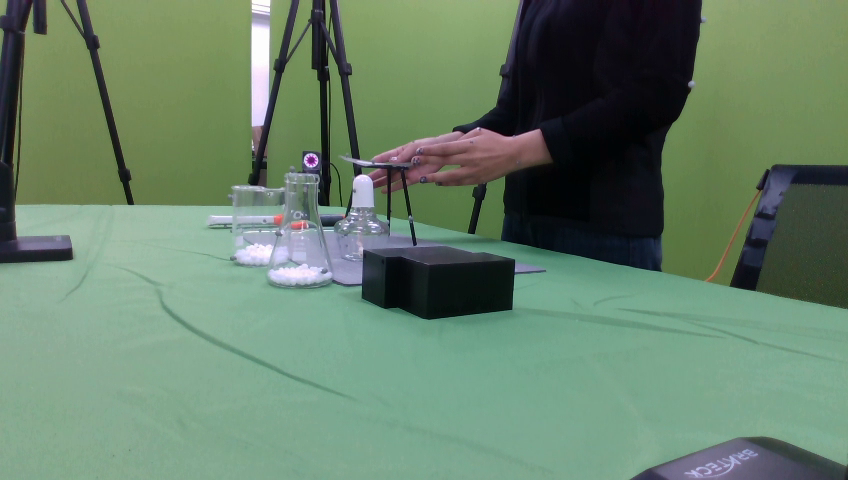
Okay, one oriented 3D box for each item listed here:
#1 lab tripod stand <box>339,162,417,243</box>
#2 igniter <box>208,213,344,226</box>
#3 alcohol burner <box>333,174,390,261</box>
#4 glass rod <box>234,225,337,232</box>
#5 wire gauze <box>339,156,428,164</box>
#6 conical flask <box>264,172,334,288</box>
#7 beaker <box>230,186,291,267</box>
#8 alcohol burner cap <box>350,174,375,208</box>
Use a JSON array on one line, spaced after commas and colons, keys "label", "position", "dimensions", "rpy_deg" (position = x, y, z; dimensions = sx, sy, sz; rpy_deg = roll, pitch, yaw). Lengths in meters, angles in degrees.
[{"label": "lab tripod stand", "position": [-0.067, -0.065, 1.027], "dimensions": [0.148, 0.131, 0.148], "rpy_deg": [4, 7, 0]}, {"label": "igniter", "position": [-0.283, -0.041, 1.200], "dimensions": [0.278, 0.025, 0.057], "rpy_deg": [-2, -2, -34]}, {"label": "alcohol burner", "position": [-0.085, -0.031, 0.832], "dimensions": [0.078, 0.119, 0.078], "rpy_deg": [3, 6, 0]}, {"label": "glass rod", "position": [-0.256, -0.022, 1.136], "dimensions": [0.201, 0.008, 0.008], "rpy_deg": [-3, 9, -33]}, {"label": "wire gauze", "position": [-0.068, -0.133, 1.021], "dimensions": [0.122, 0.011, 0.124], "rpy_deg": [-1, 9, -30]}, {"label": "conical flask", "position": [-0.136, -0.013, 0.660], "dimensions": [0.075, 0.122, 0.075], "rpy_deg": [2, 7, 0]}, {"label": "beaker", "position": [-0.209, -0.019, 0.778], "dimensions": [0.074, 0.100, 0.084], "rpy_deg": [3, 6, 4]}, {"label": "alcohol burner cap", "position": [-0.085, -0.067, 0.829], "dimensions": [0.034, 0.048, 0.034], "rpy_deg": [0, 2, 0]}]
